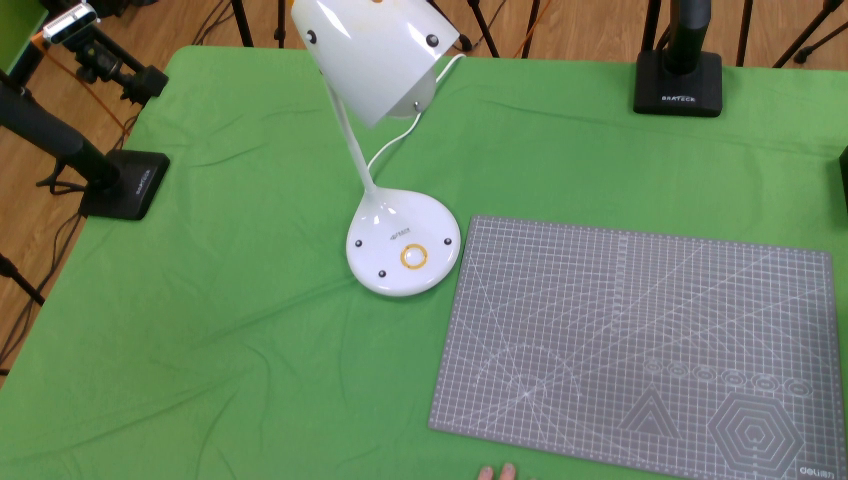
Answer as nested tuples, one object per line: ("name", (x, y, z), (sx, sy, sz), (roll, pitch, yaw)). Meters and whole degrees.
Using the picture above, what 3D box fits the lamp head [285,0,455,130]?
("lamp head", (-0.054, -0.170, 0.502), (0.123, 0.112, 0.112), (42, 73, -9))

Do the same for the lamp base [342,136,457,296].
("lamp base", (-0.054, -0.040, 0.772), (0.160, 0.182, 0.177), (-38, 60, -11))
